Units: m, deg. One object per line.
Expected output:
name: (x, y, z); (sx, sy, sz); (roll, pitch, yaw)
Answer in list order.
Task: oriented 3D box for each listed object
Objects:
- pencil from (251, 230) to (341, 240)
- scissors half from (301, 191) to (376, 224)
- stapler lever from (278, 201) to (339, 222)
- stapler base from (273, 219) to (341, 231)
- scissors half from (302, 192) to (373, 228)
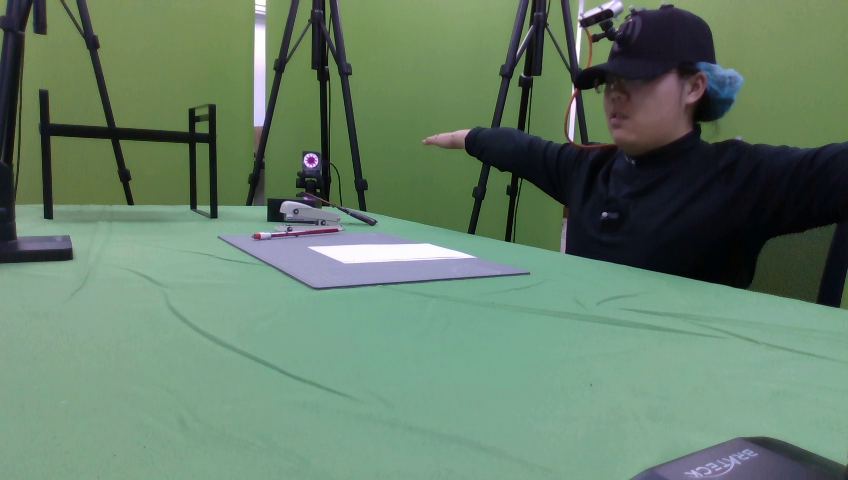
pencil: (-0.215, -0.011, 1.049); (0.012, 0.012, 0.195); (9, 9, 39)
scissors half: (-0.189, -0.073, 1.334); (0.175, 0.013, 0.040); (22, 12, -10)
stapler lever: (-0.223, -0.055, 1.170); (0.119, 0.040, 0.026); (-1, 11, -34)
stapler base: (-0.225, -0.031, 1.172); (0.131, 0.024, 0.041); (0, 10, -34)
scissors half: (-0.191, -0.068, 1.314); (0.175, 0.013, 0.040); (26, 18, 7)
